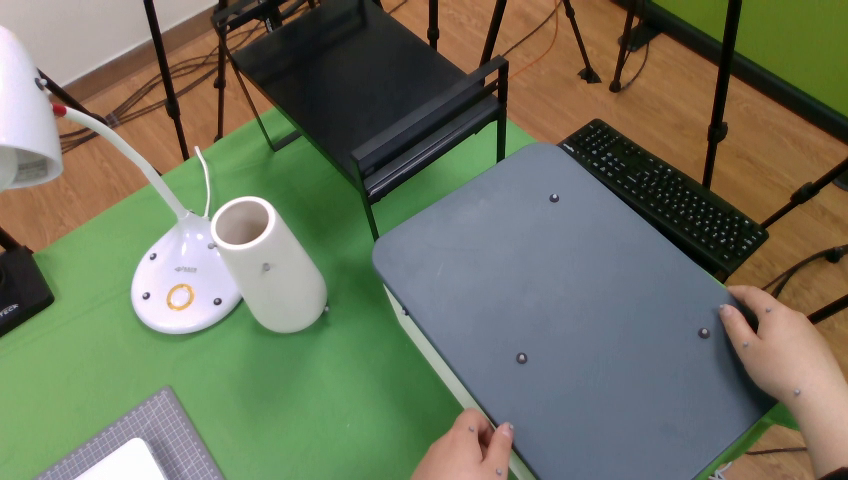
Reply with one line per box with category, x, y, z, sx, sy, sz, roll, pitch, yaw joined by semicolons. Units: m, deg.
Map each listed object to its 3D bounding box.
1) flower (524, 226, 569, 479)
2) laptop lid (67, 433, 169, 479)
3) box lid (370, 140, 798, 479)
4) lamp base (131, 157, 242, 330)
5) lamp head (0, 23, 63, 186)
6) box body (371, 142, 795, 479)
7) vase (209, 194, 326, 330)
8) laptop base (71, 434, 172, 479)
flower;0.153;0.143;0.714;0.044;0.038;0.358;-18;55;27
laptop lid;-0.392;0.394;0.605;0.356;0.013;0.239;-35;64;-15
box lid;0.140;0.062;0.601;0.263;0.015;0.368;-33;62;-15
lamp base;-0.323;-0.003;0.761;0.160;0.182;0.177;-7;55;1
lamp head;-0.350;-0.110;0.476;0.112;0.113;0.122;-10;76;0
box body;0.148;0.102;0.664;0.254;0.162;0.360;-34;62;-15
vase;-0.183;0.030;0.717;0.098;0.202;0.097;-3;58;6
laptop base;-0.393;0.398;0.616;0.354;0.023;0.233;-36;66;-16
